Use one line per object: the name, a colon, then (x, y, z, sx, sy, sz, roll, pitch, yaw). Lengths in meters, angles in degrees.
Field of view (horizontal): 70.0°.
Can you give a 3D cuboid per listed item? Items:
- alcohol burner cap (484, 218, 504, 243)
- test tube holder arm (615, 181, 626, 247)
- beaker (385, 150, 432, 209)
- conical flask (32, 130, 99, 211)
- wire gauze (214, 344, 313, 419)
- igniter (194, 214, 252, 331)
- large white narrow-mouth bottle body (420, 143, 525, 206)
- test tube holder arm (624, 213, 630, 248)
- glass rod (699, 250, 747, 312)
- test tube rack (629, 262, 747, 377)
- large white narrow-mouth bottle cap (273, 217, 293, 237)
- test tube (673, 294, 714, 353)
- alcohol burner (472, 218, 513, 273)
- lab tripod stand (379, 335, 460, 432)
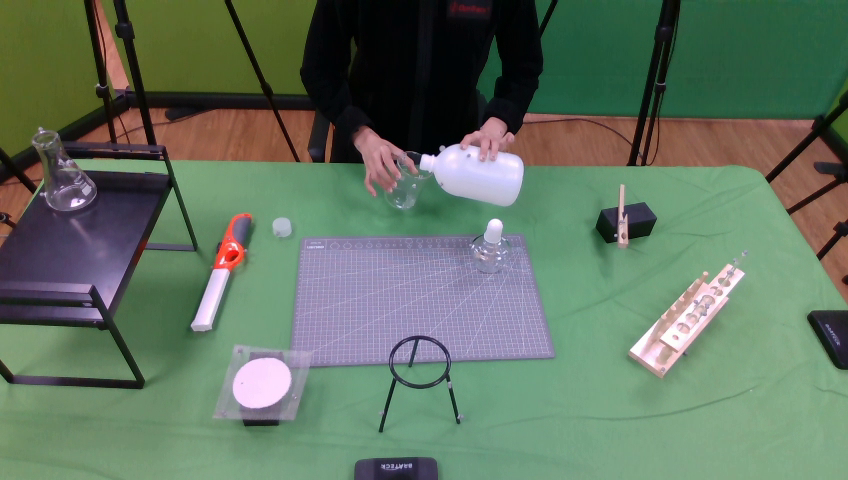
alcohol burner cap: (0.130, -0.021, 1.106, 0.034, 0.048, 0.033, 3, 51, -4)
test tube holder arm: (0.393, -0.055, 1.210, 0.013, 0.015, 0.177, 16, 48, -6)
beaker: (-0.030, -0.116, 1.201, 0.084, 0.100, 0.073, -10, 57, -32)
conical flask: (-0.565, -0.110, 0.944, 0.075, 0.122, 0.075, 2, 46, -2)
wire gauze: (-0.241, 0.213, 0.915, 0.121, 0.011, 0.124, 5, 46, 1)
igniter: (-0.367, 0.050, 1.119, 0.057, 0.025, 0.275, -4, 45, 7)
large white narrow-mouth bottle body: (0.088, -0.133, 1.163, 0.195, 0.102, 0.101, 12, 45, -8)
test tube holder arm: (0.391, -0.020, 1.181, 0.010, 0.015, 0.087, 17, 48, -5)
glass rod: (0.500, 0.075, 1.021, 0.008, 0.201, 0.008, 0, 55, 1)
test tube rack: (0.464, 0.126, 1.061, 0.242, 0.085, 0.066, -34, 56, -30)
large white narrow-mouth bottle cap: (-0.281, -0.026, 1.204, 0.038, 0.024, 0.037, 2, 46, -2)
test tube: (0.428, 0.137, 0.978, 0.017, 0.151, 0.017, 4, 47, -4)
alcohol burner: (0.128, 0.005, 1.132, 0.078, 0.120, 0.077, 0, 47, 0)
lab tripod stand: (-0.011, 0.214, 0.911, 0.148, 0.132, 0.147, 1, 45, 0)
